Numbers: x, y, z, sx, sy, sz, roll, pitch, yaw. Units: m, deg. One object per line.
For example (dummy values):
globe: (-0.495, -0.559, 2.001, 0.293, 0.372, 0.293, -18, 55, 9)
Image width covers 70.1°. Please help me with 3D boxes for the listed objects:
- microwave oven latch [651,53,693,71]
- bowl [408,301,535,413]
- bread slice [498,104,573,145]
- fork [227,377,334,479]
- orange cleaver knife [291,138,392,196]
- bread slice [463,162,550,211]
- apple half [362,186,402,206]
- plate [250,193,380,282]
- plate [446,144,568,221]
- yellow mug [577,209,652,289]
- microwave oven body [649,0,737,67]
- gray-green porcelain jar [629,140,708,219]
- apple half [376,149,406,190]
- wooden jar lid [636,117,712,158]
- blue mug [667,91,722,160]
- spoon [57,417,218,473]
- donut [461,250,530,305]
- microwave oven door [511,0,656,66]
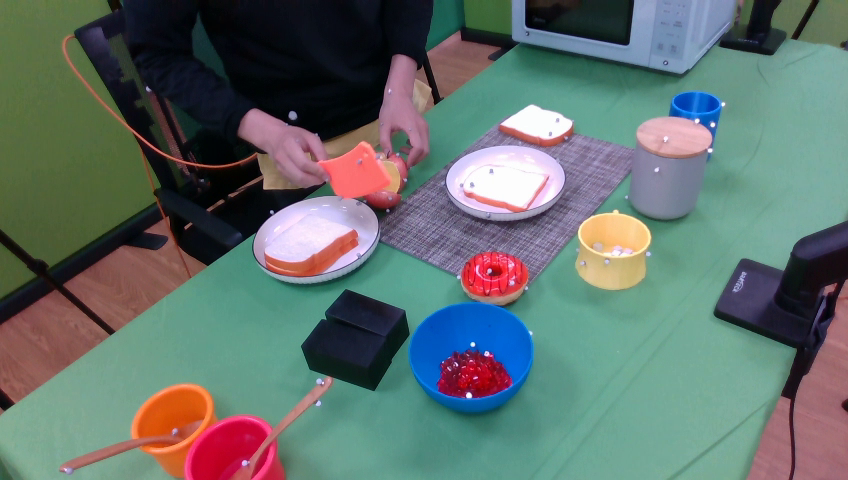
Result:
microwave oven latch: (0.532, -0.386, 1.301, 0.078, 0.029, 0.030, 27, 52, 34)
bowl: (0.060, 0.156, 0.739, 0.151, 0.077, 0.150, -4, 40, 4)
bread slice: (0.231, -0.231, 1.205, 0.105, 0.019, 0.130, -36, 47, -29)
fork: (-0.162, 0.216, 0.647, 0.207, 0.019, 0.028, -49, 41, 16)
orange cleaver knife: (-0.125, -0.100, 0.884, 0.209, 0.077, 0.012, -2, 27, 46)
bread slice: (0.135, -0.094, 1.045, 0.133, 0.018, 0.107, 15, 45, 23)
apple half: (-0.077, -0.074, 1.051, 0.081, 0.082, 0.033, 12, 85, 21)
plate: (-0.174, -0.001, 0.984, 0.209, 0.038, 0.208, -3, 40, 3)
plate: (0.142, -0.096, 1.045, 0.207, 0.039, 0.206, -4, 40, 4)
yellow mug: (0.279, 0.004, 0.893, 0.099, 0.064, 0.130, 5, 41, 15)
microwave oven body: (0.475, -0.602, 1.411, 0.438, 0.261, 0.327, 23, 50, 32)
gray-green porcelain jar: (0.383, -0.105, 0.958, 0.106, 0.127, 0.105, -4, 41, 4)
apple half: (-0.064, -0.127, 1.089, 0.080, 0.075, 0.053, 15, 34, 25)
wooden jar lid: (0.377, -0.151, 0.917, 0.108, 0.021, 0.108, -2, 41, 3)
blue mug: (0.474, -0.207, 1.079, 0.082, 0.106, 0.116, 4, 42, 13)
spoon: (-0.304, 0.221, 0.661, 0.041, 0.195, 0.021, 19, 92, 27)
donut: (0.103, 0.053, 0.872, 0.099, 0.048, 0.098, -4, 40, 4)
microwave oven door: (0.351, -0.539, 1.349, 0.353, 0.245, 0.039, 24, 50, 31)
